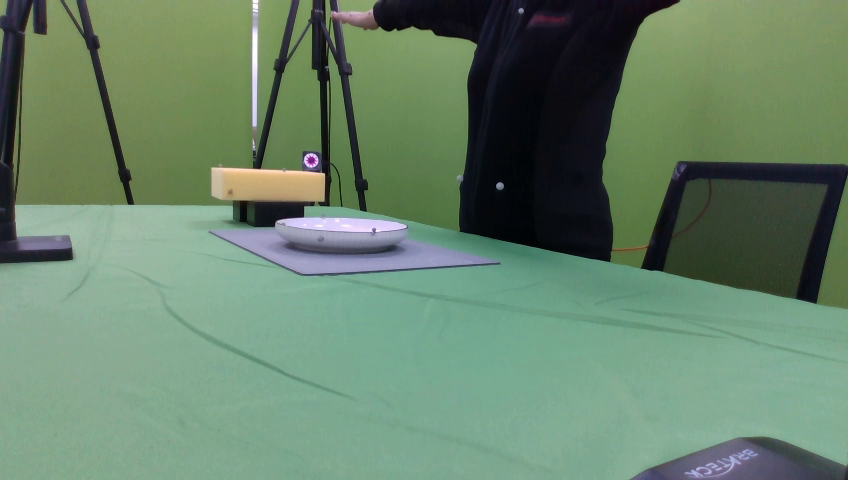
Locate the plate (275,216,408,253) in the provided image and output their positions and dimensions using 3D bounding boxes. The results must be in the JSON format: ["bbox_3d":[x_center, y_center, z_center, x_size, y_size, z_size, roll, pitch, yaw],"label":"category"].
[{"bbox_3d":[-0.129,-0.009,0.954,0.209,0.038,0.209,2,7,0],"label":"plate"}]

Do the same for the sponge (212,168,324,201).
[{"bbox_3d":[-0.325,-0.115,1.259,0.208,0.061,0.117,-2,8,-30],"label":"sponge"}]
